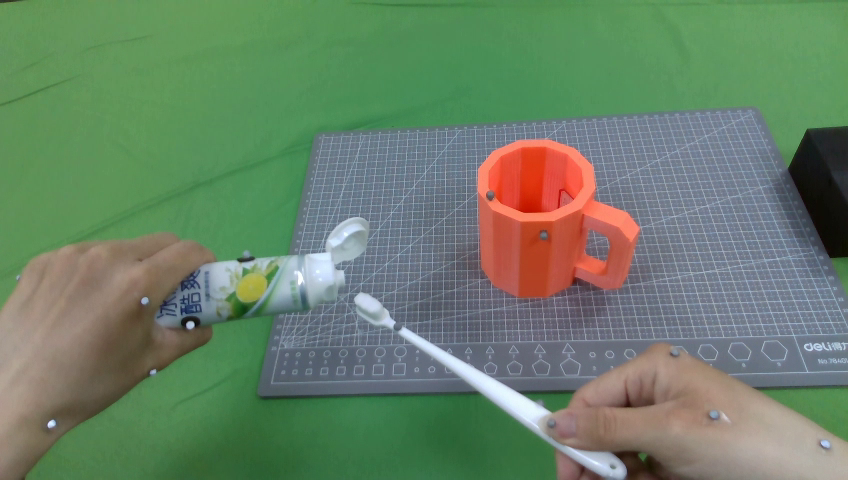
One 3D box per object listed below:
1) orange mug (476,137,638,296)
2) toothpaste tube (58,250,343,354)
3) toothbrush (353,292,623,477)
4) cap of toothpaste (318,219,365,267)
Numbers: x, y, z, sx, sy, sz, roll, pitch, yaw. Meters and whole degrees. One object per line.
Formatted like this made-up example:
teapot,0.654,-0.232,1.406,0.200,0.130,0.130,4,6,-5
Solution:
orange mug,0.099,-0.011,0.469,0.125,0.102,0.083,22,57,28
toothpaste tube,-0.132,0.029,0.366,0.165,0.035,0.054,-7,68,-10
toothbrush,0.026,0.074,0.336,0.180,0.017,0.014,28,56,28
cap of toothpaste,-0.052,0.003,0.396,0.037,0.038,0.011,-37,55,-21
